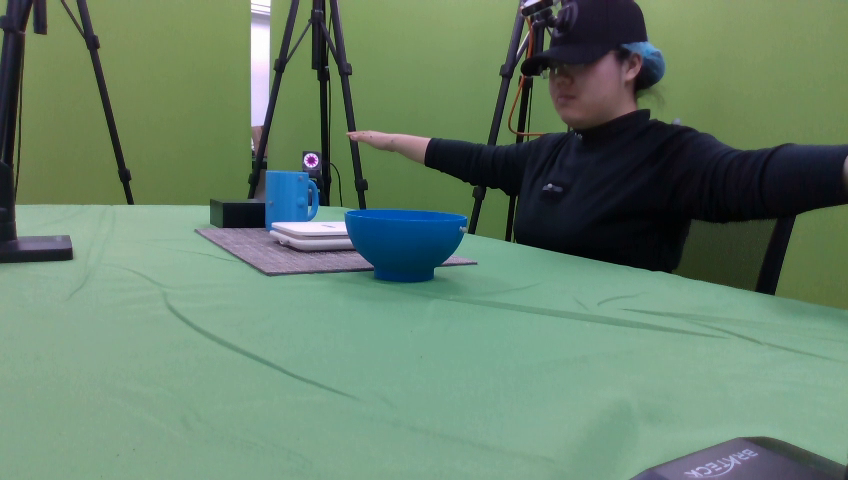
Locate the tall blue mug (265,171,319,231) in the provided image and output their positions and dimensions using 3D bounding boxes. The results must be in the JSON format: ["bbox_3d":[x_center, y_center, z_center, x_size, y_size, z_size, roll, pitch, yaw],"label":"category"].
[{"bbox_3d":[-0.248,-0.073,1.121,0.078,0.108,0.107,3,8,8],"label":"tall blue mug"}]

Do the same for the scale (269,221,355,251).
[{"bbox_3d":[-0.130,-0.008,0.959,0.202,0.031,0.148,-1,9,-32],"label":"scale"}]

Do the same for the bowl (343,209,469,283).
[{"bbox_3d":[-0.023,0.007,0.731,0.151,0.077,0.151,3,7,0],"label":"bowl"}]
